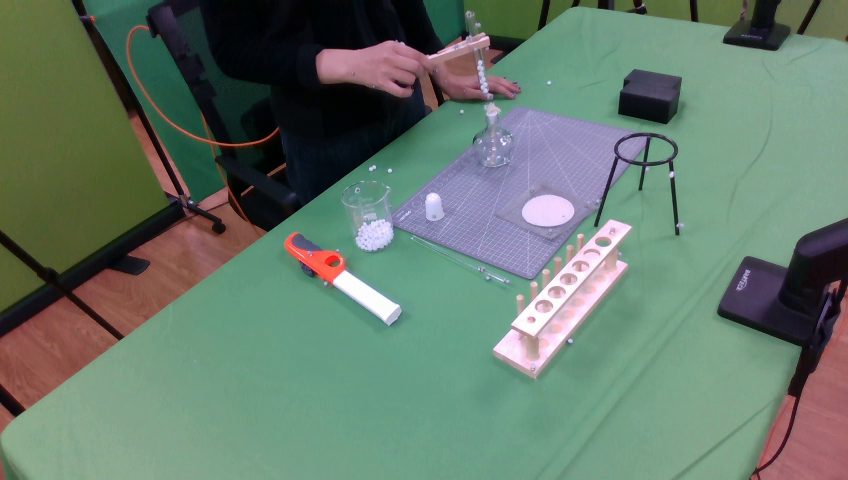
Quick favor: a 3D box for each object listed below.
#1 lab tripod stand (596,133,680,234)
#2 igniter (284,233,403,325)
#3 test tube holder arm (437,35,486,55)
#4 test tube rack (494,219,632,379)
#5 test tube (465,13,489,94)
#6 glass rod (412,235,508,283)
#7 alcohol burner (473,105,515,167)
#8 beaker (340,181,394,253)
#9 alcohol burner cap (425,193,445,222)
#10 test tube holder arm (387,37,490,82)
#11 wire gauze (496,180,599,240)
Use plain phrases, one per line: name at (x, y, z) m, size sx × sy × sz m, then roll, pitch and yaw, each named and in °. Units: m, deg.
lab tripod stand at (0.338, -0.090, 0.940) m, size 0.148 × 0.132 × 0.147 m, roll -7°, pitch 39°, yaw 6°
igniter at (-0.136, 0.054, 0.942) m, size 0.274 × 0.025 × 0.057 m, roll 29°, pitch 63°, yaw 37°
test tube holder arm at (0.063, -0.318, 1.004) m, size 0.088 × 0.015 × 0.010 m, roll -26°, pitch 40°, yaw -11°
test tube rack at (0.191, 0.068, 0.818) m, size 0.066 × 0.085 × 0.243 m, roll 25°, pitch 51°, yaw 35°
test tube at (0.091, -0.311, 1.020) m, size 0.017 × 0.151 × 0.017 m, roll -10°, pitch 46°, yaw 10°
glass rod at (0.051, 0.028, 0.952) m, size 0.198 × 0.008 × 0.008 m, roll 25°, pitch 51°, yaw 37°
alcohol burner at (0.128, -0.196, 1.116) m, size 0.078 × 0.119 × 0.077 m, roll -4°, pitch 40°, yaw 4°
beaker at (-0.086, -0.037, 0.985) m, size 0.084 × 0.101 × 0.073 m, roll -18°, pitch 41°, yaw -11°
alcohol burner cap at (0.017, -0.058, 1.029) m, size 0.034 × 0.048 × 0.033 m, roll -6°, pitch 40°, yaw 5°
test tube holder arm at (0.024, -0.298, 0.994) m, size 0.179 × 0.015 × 0.013 m, roll -22°, pitch 38°, yaw -6°
wire gauze at (0.206, -0.050, 1.012) m, size 0.125 × 0.011 × 0.120 m, roll -34°, pitch 45°, yaw -26°
